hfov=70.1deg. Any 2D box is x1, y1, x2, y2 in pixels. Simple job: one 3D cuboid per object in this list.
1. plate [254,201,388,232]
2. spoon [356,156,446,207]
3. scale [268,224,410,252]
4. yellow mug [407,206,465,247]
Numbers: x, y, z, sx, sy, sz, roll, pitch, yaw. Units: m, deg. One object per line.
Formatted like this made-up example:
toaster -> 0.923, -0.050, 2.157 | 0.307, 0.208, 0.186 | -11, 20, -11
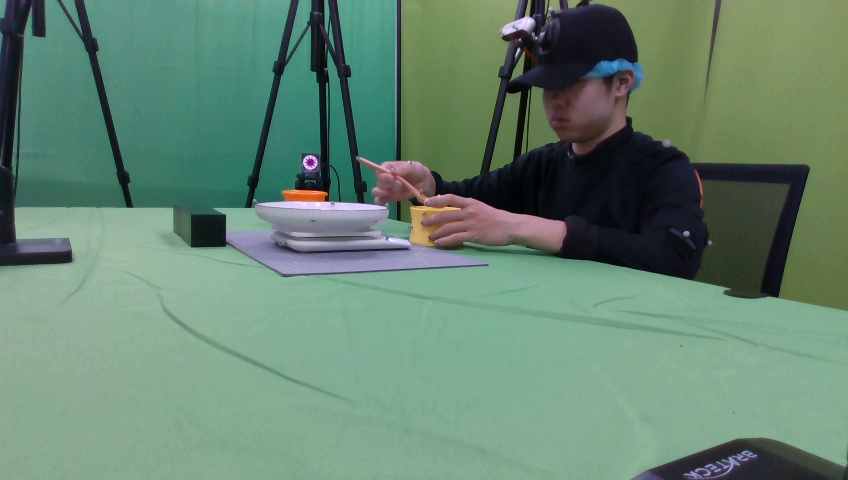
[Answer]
plate -> -0.161, -0.037, 0.961 | 0.209, 0.038, 0.209 | 2, 6, 0
spoon -> -0.044, -0.108, 1.098 | 0.193, 0.021, 0.042 | 34, 14, 14
scale -> -0.137, -0.006, 0.979 | 0.202, 0.031, 0.148 | -1, 8, -30
yellow mug -> 0.026, -0.027, 1.104 | 0.099, 0.064, 0.131 | 7, 7, 20
